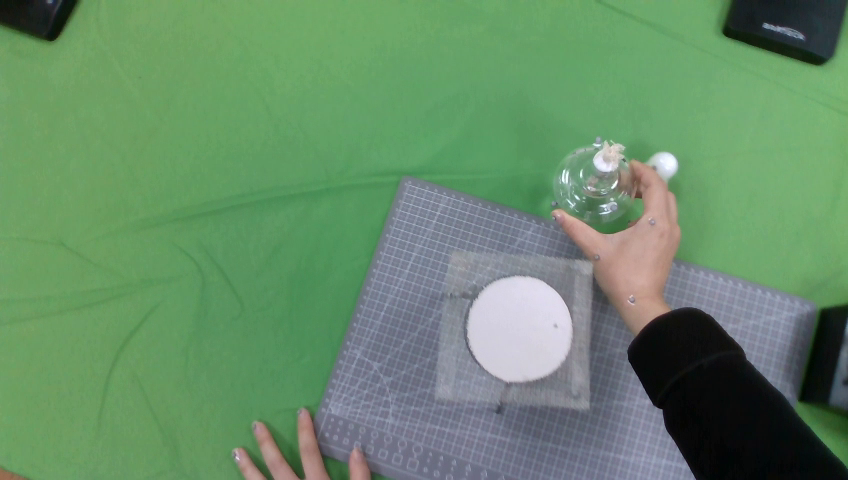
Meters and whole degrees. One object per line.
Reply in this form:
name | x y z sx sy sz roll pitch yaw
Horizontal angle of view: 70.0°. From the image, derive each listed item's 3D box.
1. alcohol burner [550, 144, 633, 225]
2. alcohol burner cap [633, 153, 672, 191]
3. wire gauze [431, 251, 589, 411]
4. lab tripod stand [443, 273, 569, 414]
alcohol burner | 0.156 -0.057 0.558 0.078 0.120 0.077 -1 75 5
alcohol burner cap | 0.242 -0.073 0.634 0.034 0.048 0.033 -1 77 4
wire gauze | 0.071 0.073 0.489 0.121 0.011 0.124 5 80 1
lab tripod stand | 0.076 0.089 0.554 0.148 0.132 0.148 0 80 0
